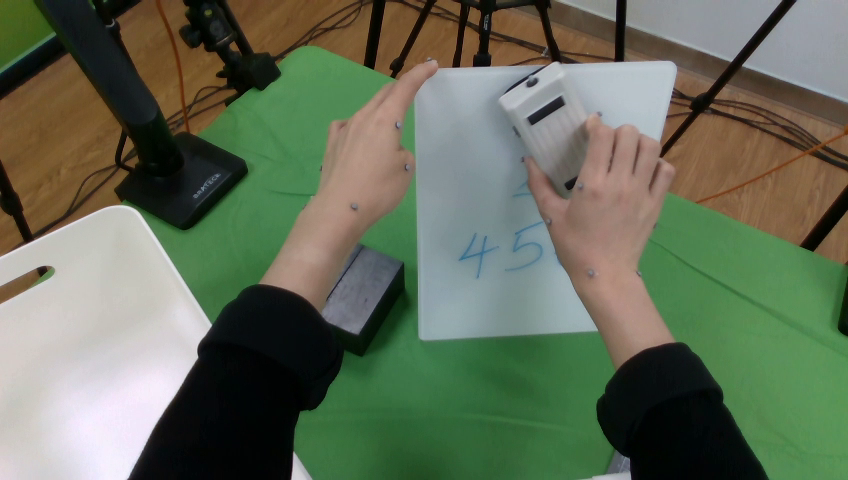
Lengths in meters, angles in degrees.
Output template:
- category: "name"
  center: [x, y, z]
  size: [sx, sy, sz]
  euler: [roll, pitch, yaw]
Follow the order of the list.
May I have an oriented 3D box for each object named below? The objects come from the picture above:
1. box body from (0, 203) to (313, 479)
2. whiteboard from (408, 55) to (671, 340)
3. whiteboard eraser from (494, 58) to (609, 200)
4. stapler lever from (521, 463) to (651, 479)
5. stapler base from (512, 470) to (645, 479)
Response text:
- category: "box body"
  center: [-0.266, 0.180, 0.499]
  size: [0.254, 0.162, 0.361]
  euler: [-33, 63, -22]
- category: "whiteboard"
  center: [0.092, -0.060, 0.627]
  size: [0.217, 0.308, 0.142]
  euler: [-2, 37, -3]
- category: "whiteboard eraser"
  center: [0.106, -0.090, 0.499]
  size: [0.055, 0.114, 0.041]
  euler: [-33, 34, 8]
- category: "stapler lever"
  center: [0.144, 0.220, 0.540]
  size: [0.118, 0.040, 0.026]
  euler: [-4, 52, -2]
- category: "stapler base"
  center: [0.146, 0.235, 0.561]
  size: [0.130, 0.024, 0.041]
  euler: [-4, 52, -1]
